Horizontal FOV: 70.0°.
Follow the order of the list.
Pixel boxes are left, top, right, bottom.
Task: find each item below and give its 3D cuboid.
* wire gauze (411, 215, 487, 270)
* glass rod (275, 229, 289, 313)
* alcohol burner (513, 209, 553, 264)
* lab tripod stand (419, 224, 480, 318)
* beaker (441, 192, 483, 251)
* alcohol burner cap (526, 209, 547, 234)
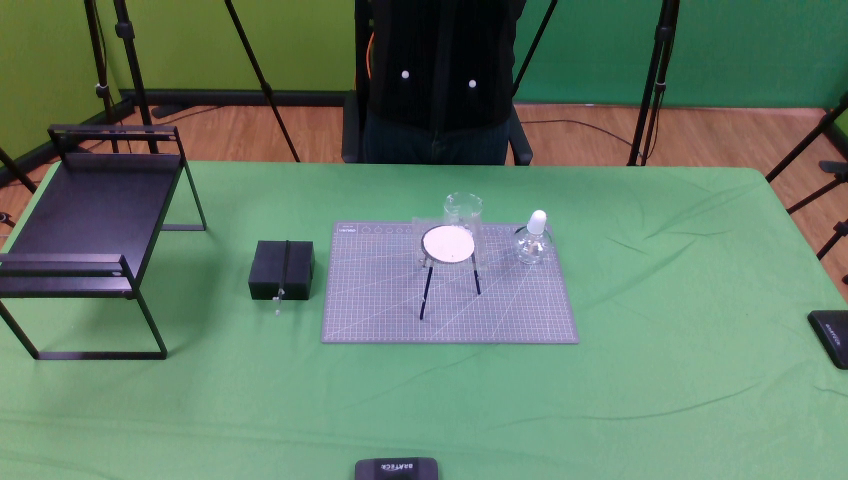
[{"bbox_3d":[0.041,0.002,1.026,0.125,0.011,0.120,1,46,-3],"label":"wire gauze"},{"bbox_3d":[-0.252,0.050,1.075,0.008,0.008,0.198,-1,45,-5],"label":"glass rod"},{"bbox_3d":[0.210,-0.012,1.158,0.078,0.120,0.077,1,45,-1],"label":"alcohol burner"},{"bbox_3d":[0.034,0.052,1.070,0.148,0.132,0.147,3,48,-3],"label":"lab tripod stand"},{"bbox_3d":[0.072,-0.034,1.179,0.084,0.101,0.073,-20,51,-22],"label":"beaker"},{"bbox_3d":[0.212,-0.037,1.133,0.034,0.048,0.033,4,51,-5],"label":"alcohol burner cap"}]
